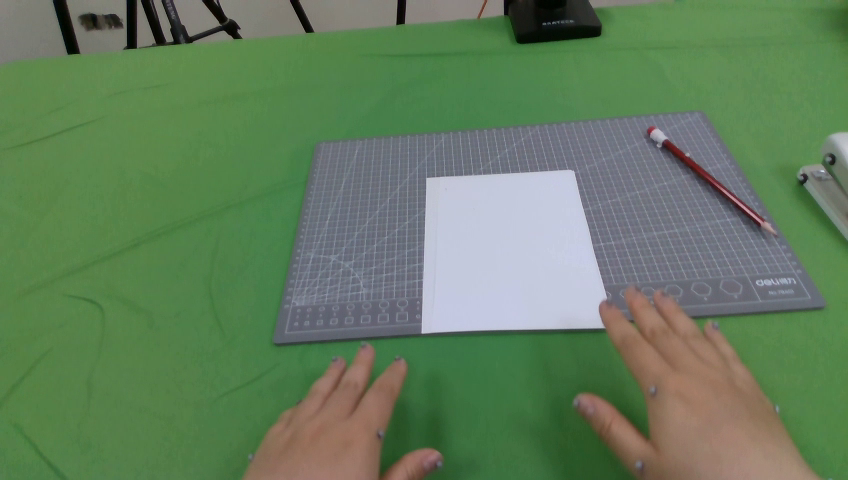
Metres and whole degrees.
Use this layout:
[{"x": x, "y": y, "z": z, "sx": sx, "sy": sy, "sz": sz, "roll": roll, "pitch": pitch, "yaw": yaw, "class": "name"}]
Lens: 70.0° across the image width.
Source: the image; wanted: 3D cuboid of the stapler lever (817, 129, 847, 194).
[{"x": 0.390, "y": -0.054, "z": 0.537, "sx": 0.027, "sy": 0.040, "sz": 0.117, "roll": -7, "pitch": 44, "yaw": 3, "class": "stapler lever"}]

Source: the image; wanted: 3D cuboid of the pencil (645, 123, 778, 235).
[{"x": 0.279, "y": -0.065, "z": 0.601, "sx": 0.012, "sy": 0.012, "sz": 0.191, "roll": -18, "pitch": 45, "yaw": -11, "class": "pencil"}]

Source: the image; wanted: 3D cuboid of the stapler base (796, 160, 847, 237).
[{"x": 0.392, "y": -0.038, "z": 0.555, "sx": 0.041, "sy": 0.025, "sz": 0.129, "roll": -7, "pitch": 45, "yaw": 3, "class": "stapler base"}]
